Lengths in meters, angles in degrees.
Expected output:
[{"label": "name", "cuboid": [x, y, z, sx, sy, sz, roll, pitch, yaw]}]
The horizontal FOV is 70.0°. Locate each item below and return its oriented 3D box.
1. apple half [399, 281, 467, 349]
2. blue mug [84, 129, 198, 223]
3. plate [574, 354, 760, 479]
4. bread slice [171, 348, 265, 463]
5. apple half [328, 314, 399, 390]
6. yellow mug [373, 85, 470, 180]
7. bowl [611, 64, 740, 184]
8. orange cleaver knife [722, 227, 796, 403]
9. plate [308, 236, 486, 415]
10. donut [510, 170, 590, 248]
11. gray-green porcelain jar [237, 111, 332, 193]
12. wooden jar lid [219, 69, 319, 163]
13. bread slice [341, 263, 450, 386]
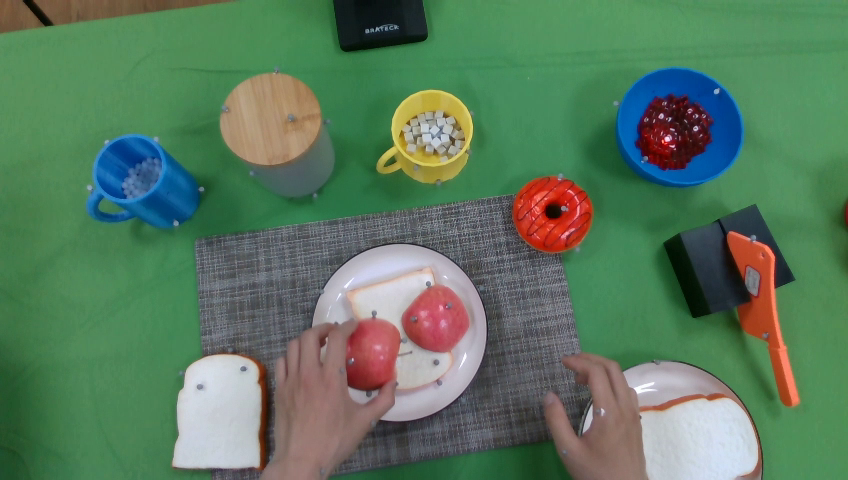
[{"label": "apple half", "cuboid": [0.013, 0.085, 0.698, 0.081, 0.033, 0.081, 0, 76, -1]}, {"label": "blue mug", "cuboid": [-0.341, -0.063, 0.718, 0.116, 0.106, 0.082, -34, 79, -7]}, {"label": "plate", "cuboid": [0.273, 0.237, 0.694, 0.209, 0.038, 0.208, 0, 77, 0]}, {"label": "bread slice", "cuboid": [-0.239, 0.192, 0.705, 0.105, 0.019, 0.131, -1, 79, -1]}, {"label": "apple half", "cuboid": [-0.065, 0.120, 0.645, 0.074, 0.053, 0.080, 9, 86, 3]}, {"label": "yellow mug", "cuboid": [-0.007, -0.125, 0.756, 0.131, 0.064, 0.099, -32, 80, -6]}, {"label": "bowl", "cuboid": [0.300, -0.132, 0.755, 0.151, 0.077, 0.150, 0, 78, 0]}, {"label": "orange cleaver knife", "cuboid": [0.388, 0.087, 0.705, 0.012, 0.077, 0.212, -19, 100, -11]}, {"label": "plate", "cuboid": [-0.031, 0.100, 0.717, 0.208, 0.039, 0.206, 0, 78, 0]}, {"label": "donut", "cuboid": [0.154, -0.038, 0.746, 0.099, 0.048, 0.098, 0, 78, 0]}, {"label": "gray-green porcelain jar", "cuboid": [-0.168, -0.119, 0.722, 0.106, 0.127, 0.105, 0, 77, 0]}, {"label": "wooden jar lid", "cuboid": [-0.168, -0.133, 0.661, 0.108, 0.021, 0.108, 0, 76, 0]}, {"label": "bread slice", "cuboid": [-0.025, 0.103, 0.717, 0.107, 0.018, 0.133, -20, 79, -5]}]
